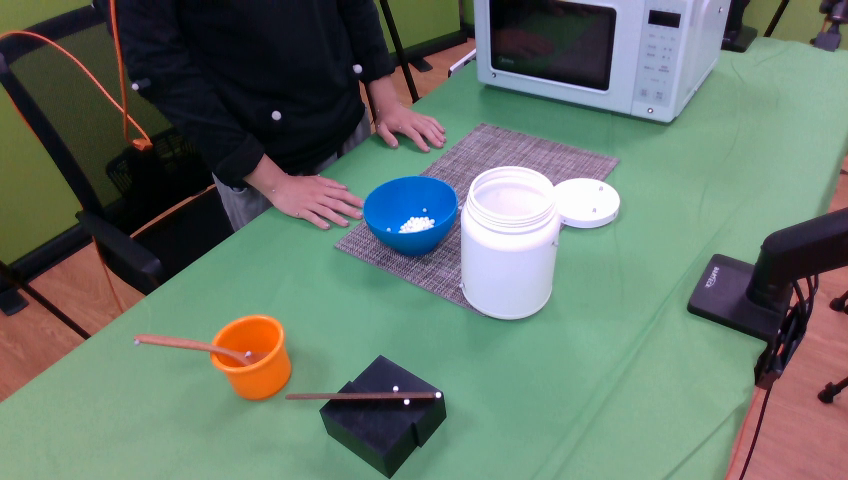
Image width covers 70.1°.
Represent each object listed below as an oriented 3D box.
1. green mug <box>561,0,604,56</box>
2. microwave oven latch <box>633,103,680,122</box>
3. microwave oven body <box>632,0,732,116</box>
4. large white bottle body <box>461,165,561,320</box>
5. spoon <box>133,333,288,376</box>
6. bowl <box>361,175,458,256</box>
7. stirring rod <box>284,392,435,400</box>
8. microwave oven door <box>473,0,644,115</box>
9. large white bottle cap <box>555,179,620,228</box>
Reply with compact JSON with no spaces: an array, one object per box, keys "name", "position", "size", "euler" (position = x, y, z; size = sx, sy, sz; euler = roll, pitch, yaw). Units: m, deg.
[{"name":"green mug","position":[0.335,-0.450,1.293],"size":[0.092,0.105,0.125],"euler":[9,48,22]},{"name":"microwave oven latch","position":[0.444,-0.249,1.157],"size":[0.078,0.029,0.030],"euler":[21,48,30]},{"name":"microwave oven body","position":[0.377,-0.462,1.267],"size":[0.438,0.261,0.327],"euler":[21,48,30]},{"name":"large white bottle body","position":[0.115,0.004,0.815],"size":[0.130,0.185,0.130],"euler":[-2,43,2]},{"name":"spoon","position":[-0.257,0.137,0.747],"size":[0.021,0.195,0.041],"euler":[-47,40,22]},{"name":"bowl","position":[-0.018,-0.028,0.955],"size":[0.151,0.077,0.150],"euler":[-4,40,4]},{"name":"stirring rod","position":[-0.075,0.180,0.698],"size":[0.176,0.006,0.014],"euler":[-2,6,6]},{"name":"microwave oven door","position":[0.257,-0.396,1.199],"size":[0.353,0.245,0.039],"euler":[21,48,29]},{"name":"large white bottle cap","position":[0.265,-0.062,1.001],"size":[0.115,0.018,0.114],"euler":[-4,41,4]}]
